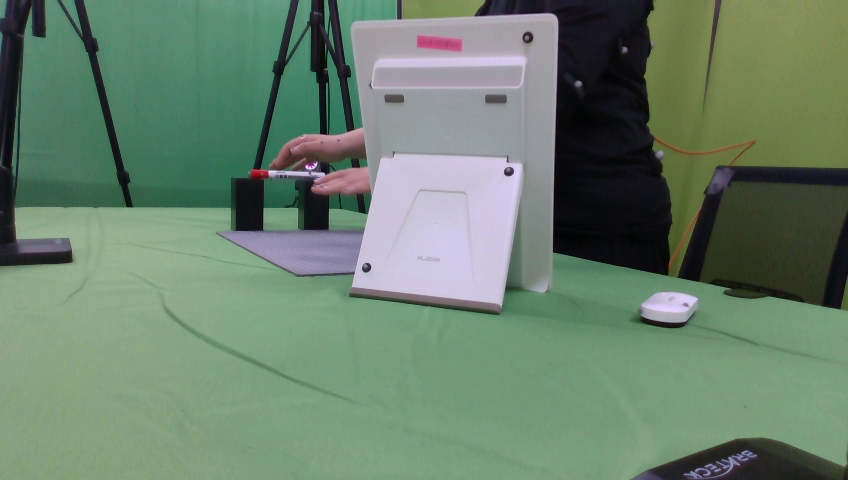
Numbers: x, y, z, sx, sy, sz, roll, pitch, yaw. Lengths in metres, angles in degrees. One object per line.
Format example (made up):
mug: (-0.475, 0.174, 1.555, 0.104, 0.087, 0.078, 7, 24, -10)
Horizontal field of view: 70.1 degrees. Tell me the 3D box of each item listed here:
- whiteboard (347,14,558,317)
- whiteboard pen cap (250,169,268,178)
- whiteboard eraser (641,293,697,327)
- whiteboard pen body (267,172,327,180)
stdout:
whiteboard: (0.012, -0.056, 0.609, 0.216, 0.305, 0.144, 5, 27, 20)
whiteboard pen cap: (-0.315, -0.127, 1.155, 0.032, 0.017, 0.017, 0, 7, -24)
whiteboard eraser: (0.240, 0.066, 0.590, 0.041, 0.019, 0.102, 6, 7, 31)
whiteboard pen body: (-0.259, -0.125, 1.182, 0.141, 0.017, 0.017, -2, 8, -25)
